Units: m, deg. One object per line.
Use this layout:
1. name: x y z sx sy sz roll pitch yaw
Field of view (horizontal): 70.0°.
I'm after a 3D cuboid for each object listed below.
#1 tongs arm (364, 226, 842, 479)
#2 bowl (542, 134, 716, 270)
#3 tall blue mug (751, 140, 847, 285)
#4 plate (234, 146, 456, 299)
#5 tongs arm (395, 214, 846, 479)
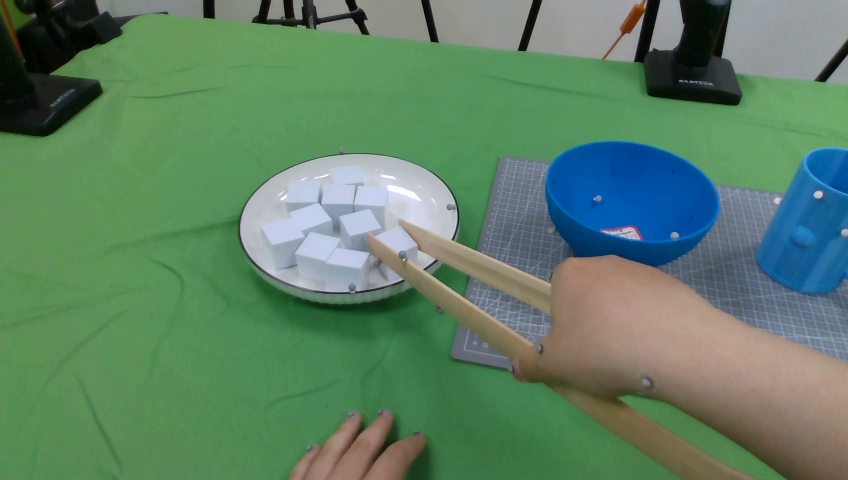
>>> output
1. tongs arm: 0.063 0.053 0.403 0.051 0.027 0.381 -20 29 -24
2. bowl: 0.180 -0.025 0.563 0.151 0.077 0.150 1 43 0
3. tall blue mug: 0.366 -0.018 0.536 0.106 0.109 0.077 17 45 17
4. plate: -0.073 -0.018 0.583 0.209 0.038 0.207 1 43 -1
5. tongs arm: 0.082 0.045 0.414 0.028 0.028 0.383 -19 28 -29
